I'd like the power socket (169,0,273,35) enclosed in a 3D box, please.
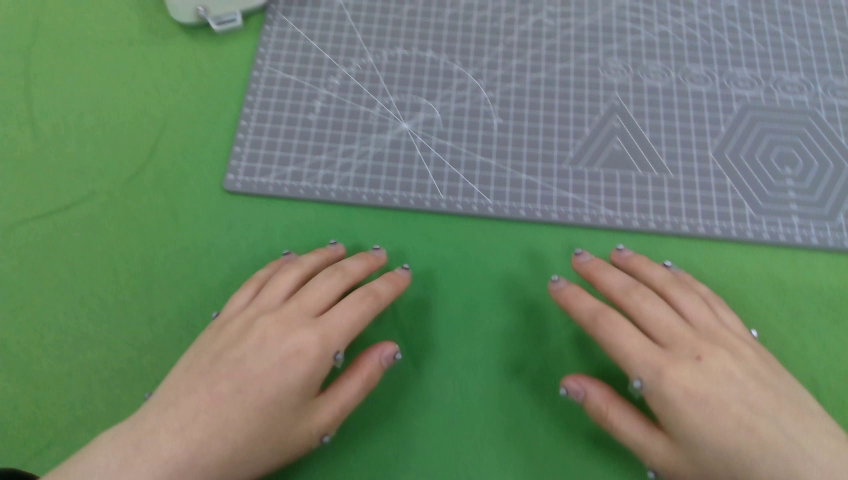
[{"bbox_3d":[-0.171,-0.252,0.459,0.072,0.033,0.225,-16,68,-9],"label":"power socket"}]
